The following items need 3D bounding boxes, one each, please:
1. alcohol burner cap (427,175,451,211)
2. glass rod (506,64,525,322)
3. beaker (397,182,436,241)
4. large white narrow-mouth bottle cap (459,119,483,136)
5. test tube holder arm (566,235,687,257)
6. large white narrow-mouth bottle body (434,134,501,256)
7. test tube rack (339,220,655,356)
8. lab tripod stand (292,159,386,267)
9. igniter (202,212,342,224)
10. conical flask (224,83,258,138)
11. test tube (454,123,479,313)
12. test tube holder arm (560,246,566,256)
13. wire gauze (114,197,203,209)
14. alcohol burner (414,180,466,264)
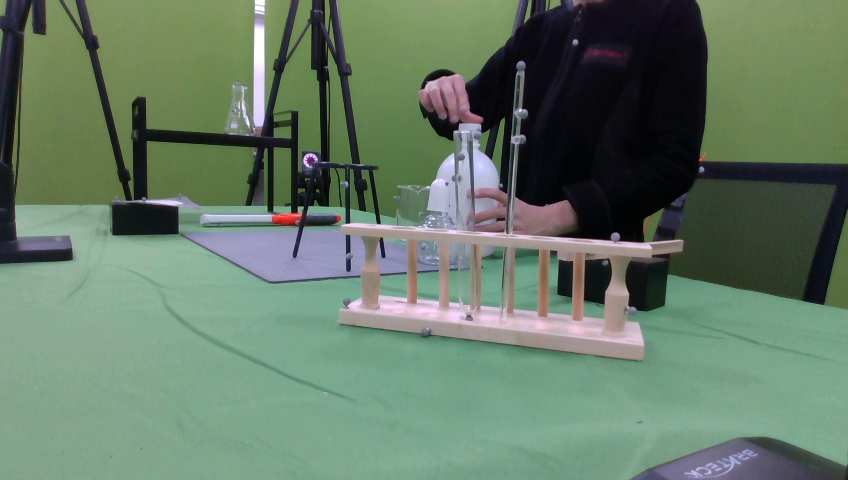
[{"bbox_3d":[0.023,-0.064,0.822,0.034,0.048,0.034,7,5,0],"label":"alcohol burner cap"},{"bbox_3d":[0.069,-0.030,0.458,0.008,0.199,0.008,0,15,0],"label":"glass rod"},{"bbox_3d":[-0.012,-0.050,1.072,0.074,0.100,0.084,1,8,-4],"label":"beaker"},{"bbox_3d":[0.073,-0.172,0.923,0.038,0.024,0.037,2,8,0],"label":"large white narrow-mouth bottle cap"},{"bbox_3d":[0.215,0.006,0.630,0.179,0.015,0.013,-3,10,-31],"label":"test tube holder arm"},{"bbox_3d":[0.069,-0.078,0.937,0.102,0.194,0.102,2,8,0],"label":"large white narrow-mouth bottle body"},{"bbox_3d":[0.056,0.032,0.495,0.242,0.085,0.067,4,7,15],"label":"test tube rack"},{"bbox_3d":[-0.105,-0.039,0.798,0.148,0.131,0.148,2,5,0],"label":"lab tripod stand"},{"bbox_3d":[-0.298,-0.044,1.216,0.278,0.025,0.057,-2,-2,-32],"label":"igniter"},{"bbox_3d":[-0.422,-0.299,1.395,0.075,0.122,0.075,2,7,0],"label":"conical flask"},{"bbox_3d":[0.034,-0.016,0.477,0.017,0.150,0.017,-2,9,1],"label":"test tube"},{"bbox_3d":[0.173,0.007,0.611,0.088,0.015,0.010,-3,10,-30],"label":"test tube holder arm"},{"bbox_3d":[-0.447,-0.062,1.015,0.126,0.011,0.121,-2,8,-31],"label":"wire gauze"},{"bbox_3d":[0.021,-0.028,0.826,0.078,0.119,0.078,0,6,0],"label":"alcohol burner"}]
